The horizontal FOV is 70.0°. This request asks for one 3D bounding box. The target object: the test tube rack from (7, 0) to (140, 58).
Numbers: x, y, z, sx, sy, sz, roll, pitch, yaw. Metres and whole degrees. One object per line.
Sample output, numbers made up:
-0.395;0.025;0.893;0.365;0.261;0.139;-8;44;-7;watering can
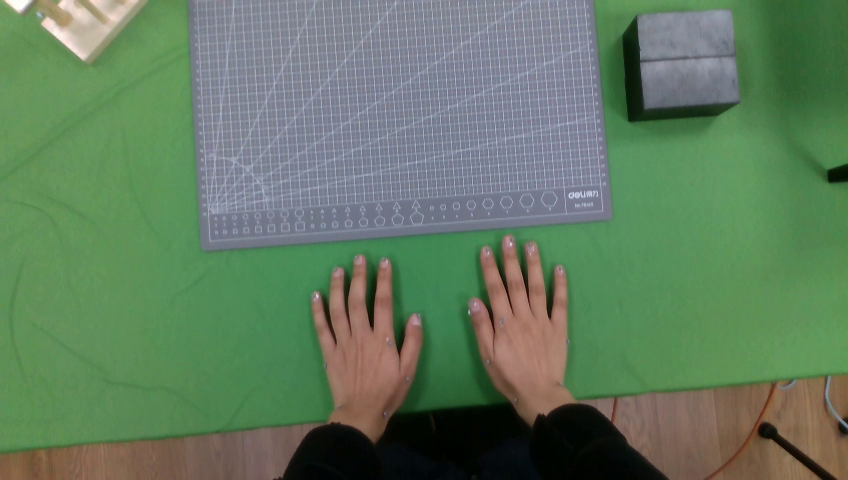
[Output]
-0.321;-0.316;0.636;0.066;0.085;0.242;41;88;3;test tube rack
